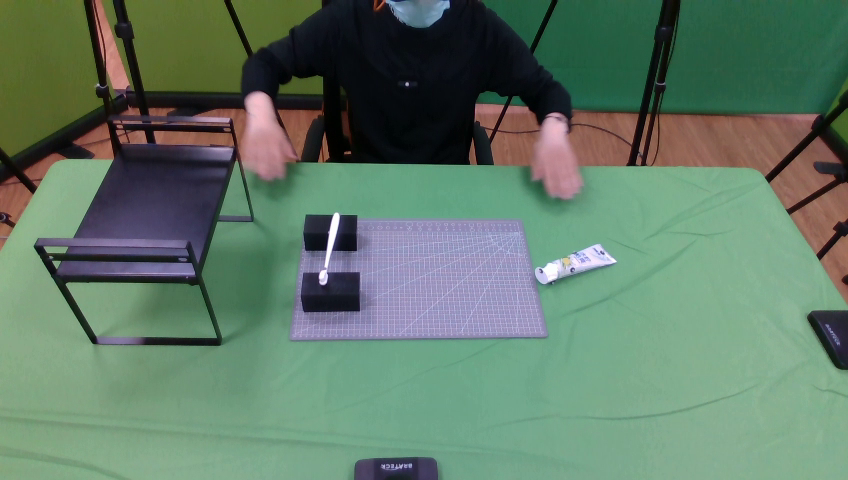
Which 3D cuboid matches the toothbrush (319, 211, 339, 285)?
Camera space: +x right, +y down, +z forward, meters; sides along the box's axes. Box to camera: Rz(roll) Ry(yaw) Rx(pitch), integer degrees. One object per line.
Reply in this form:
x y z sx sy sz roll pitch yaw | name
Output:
-0.172 0.009 1.103 0.014 0.017 0.180 -7 44 10 | toothbrush

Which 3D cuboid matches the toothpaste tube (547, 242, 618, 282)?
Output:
0.298 0.043 1.169 0.165 0.034 0.054 -18 56 -25 | toothpaste tube

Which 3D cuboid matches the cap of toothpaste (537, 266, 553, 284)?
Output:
0.227 0.064 1.136 0.011 0.037 0.037 -27 54 -26 | cap of toothpaste
